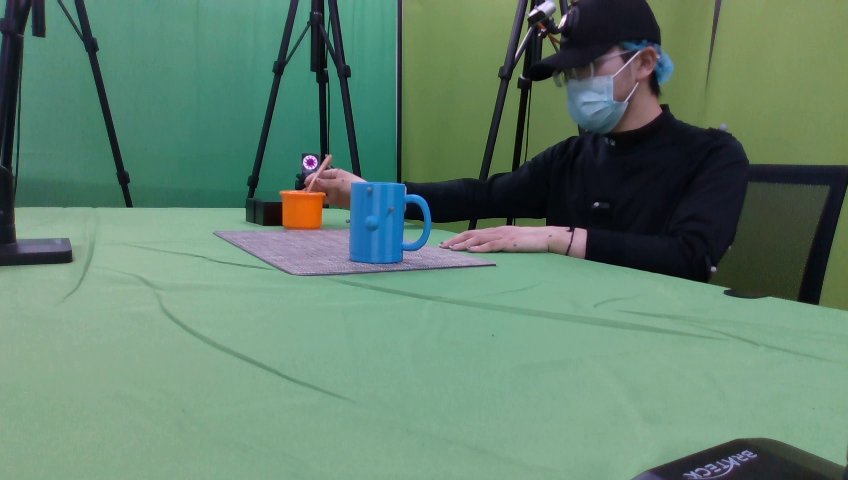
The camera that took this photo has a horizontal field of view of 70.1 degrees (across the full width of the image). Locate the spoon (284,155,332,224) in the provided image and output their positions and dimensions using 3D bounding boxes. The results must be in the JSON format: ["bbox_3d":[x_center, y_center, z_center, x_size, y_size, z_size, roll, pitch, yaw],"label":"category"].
[{"bbox_3d":[-0.233,-0.106,1.248,0.041,0.193,0.022,5,-32,32],"label":"spoon"}]

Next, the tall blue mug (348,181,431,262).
[{"bbox_3d":[-0.052,-0.028,0.849,0.108,0.108,0.077,-1,7,-22],"label":"tall blue mug"}]
